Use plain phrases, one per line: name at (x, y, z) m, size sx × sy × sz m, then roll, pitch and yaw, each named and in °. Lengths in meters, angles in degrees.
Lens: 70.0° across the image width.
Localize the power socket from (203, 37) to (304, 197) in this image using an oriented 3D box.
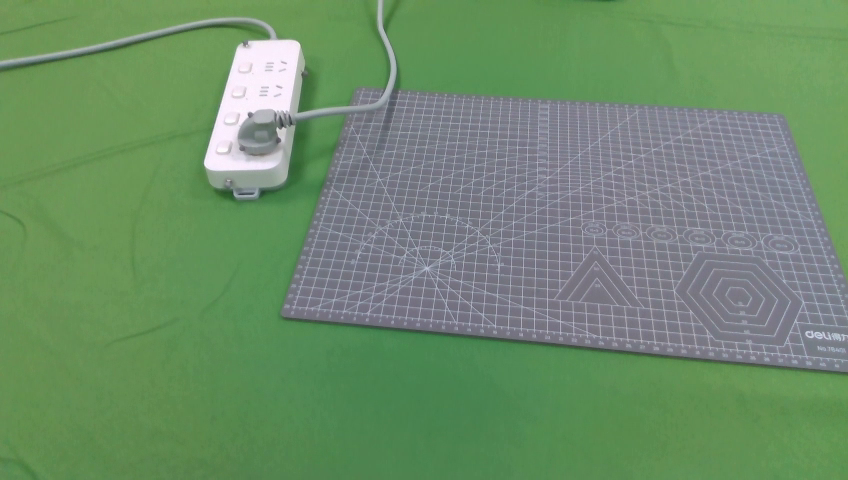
power socket at (-0.168, -0.136, 0.617) m, size 0.072 × 0.033 × 0.224 m, roll -1°, pitch 51°, yaw -1°

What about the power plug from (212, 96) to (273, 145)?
power plug at (-0.154, -0.113, 0.533) m, size 0.035 × 0.073 × 0.052 m, roll 19°, pitch 69°, yaw 0°
